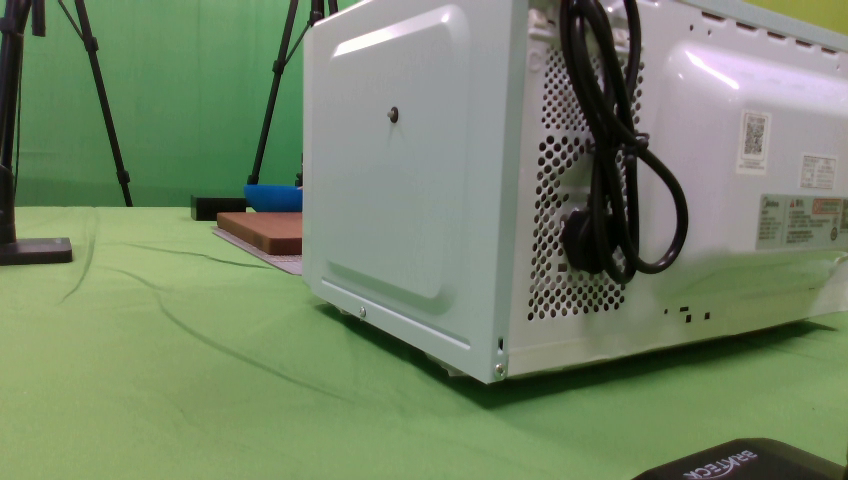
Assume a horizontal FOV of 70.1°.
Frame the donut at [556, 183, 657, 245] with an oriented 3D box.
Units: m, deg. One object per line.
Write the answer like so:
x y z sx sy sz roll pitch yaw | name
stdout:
0.183 -0.027 0.610 0.099 0.048 0.099 12 -11 3 | donut

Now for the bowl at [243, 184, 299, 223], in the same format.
-0.321 -0.081 1.334 0.151 0.077 0.151 3 7 0 | bowl

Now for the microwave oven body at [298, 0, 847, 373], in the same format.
0.151 -0.055 0.542 0.444 0.260 0.324 -1 7 -33 | microwave oven body

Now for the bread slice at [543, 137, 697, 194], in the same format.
0.200 -0.074 0.604 0.107 0.018 0.133 -1 21 -46 | bread slice

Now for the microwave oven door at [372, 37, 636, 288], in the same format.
0.110 -0.080 0.686 0.358 0.243 0.039 -2 9 -33 | microwave oven door

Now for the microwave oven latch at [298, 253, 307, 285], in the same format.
-0.082 0.027 0.583 0.079 0.029 0.030 -2 8 -33 | microwave oven latch

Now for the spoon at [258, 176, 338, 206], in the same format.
-0.279 -0.112 1.356 0.194 0.021 0.041 -28 18 -27 | spoon

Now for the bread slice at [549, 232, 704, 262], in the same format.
0.202 0.007 0.587 0.105 0.019 0.131 7 -6 -23 | bread slice
